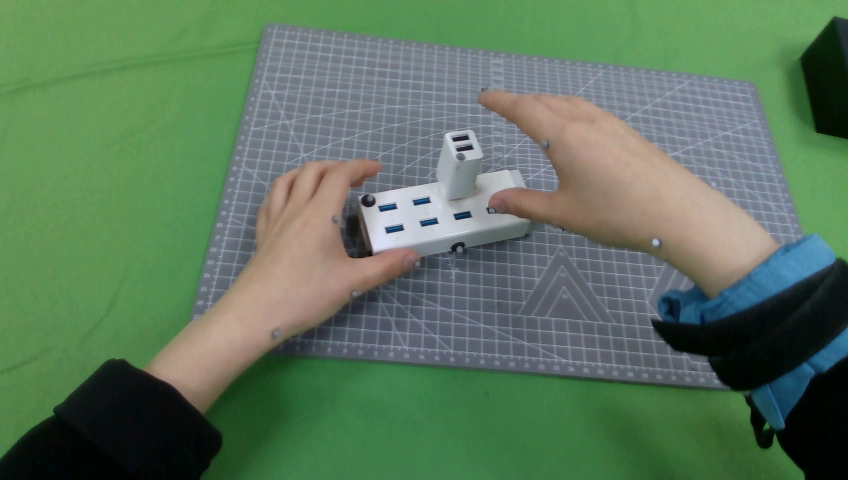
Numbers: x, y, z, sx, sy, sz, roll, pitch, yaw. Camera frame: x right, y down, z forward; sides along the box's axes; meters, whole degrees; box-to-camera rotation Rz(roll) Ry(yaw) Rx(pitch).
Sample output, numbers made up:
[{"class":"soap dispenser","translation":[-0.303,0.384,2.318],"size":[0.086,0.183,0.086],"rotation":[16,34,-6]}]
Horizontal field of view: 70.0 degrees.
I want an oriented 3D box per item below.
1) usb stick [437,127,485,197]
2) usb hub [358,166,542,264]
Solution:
[{"class":"usb stick","translation":[0.024,-0.049,0.421],"size":[0.021,0.059,0.027],"rotation":[-11,59,-15]},{"class":"usb hub","translation":[0.018,-0.020,0.438],"size":[0.125,0.025,0.049],"rotation":[-11,62,-13]}]
